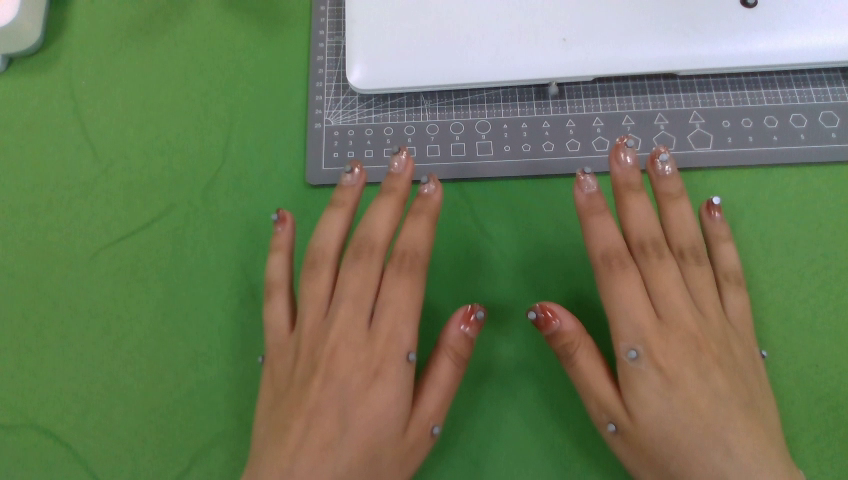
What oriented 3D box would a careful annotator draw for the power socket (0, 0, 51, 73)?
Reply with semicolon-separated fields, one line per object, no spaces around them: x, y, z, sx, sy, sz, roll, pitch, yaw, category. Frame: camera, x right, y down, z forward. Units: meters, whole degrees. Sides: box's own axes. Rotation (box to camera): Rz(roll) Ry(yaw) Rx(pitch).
-0.296;-0.219;0.423;0.072;0.033;0.225;-5;69;-1;power socket

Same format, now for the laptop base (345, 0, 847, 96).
0.122;-0.206;0.411;0.354;0.023;0.234;-3;73;1;laptop base

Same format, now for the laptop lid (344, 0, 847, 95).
0.122;-0.208;0.399;0.357;0.013;0.240;-2;72;2;laptop lid
